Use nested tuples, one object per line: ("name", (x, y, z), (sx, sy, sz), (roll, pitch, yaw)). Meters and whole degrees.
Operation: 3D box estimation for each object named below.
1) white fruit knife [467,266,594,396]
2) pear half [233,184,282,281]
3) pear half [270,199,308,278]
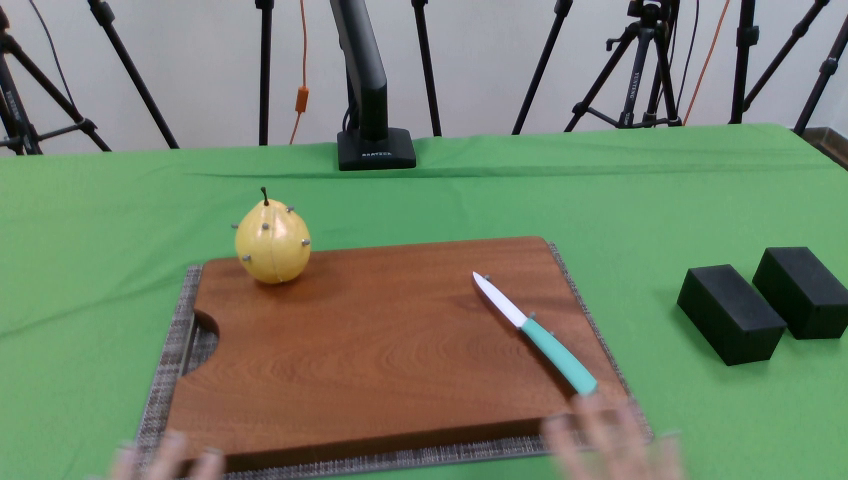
("white fruit knife", (0.100, 0.080, 0.604), (0.027, 0.016, 0.205), (-4, 33, -31))
("pear half", (-0.176, -0.012, 0.641), (0.056, 0.110, 0.075), (2, 32, 1))
("pear half", (-0.140, -0.002, 0.646), (0.031, 0.088, 0.070), (0, 29, 0))
